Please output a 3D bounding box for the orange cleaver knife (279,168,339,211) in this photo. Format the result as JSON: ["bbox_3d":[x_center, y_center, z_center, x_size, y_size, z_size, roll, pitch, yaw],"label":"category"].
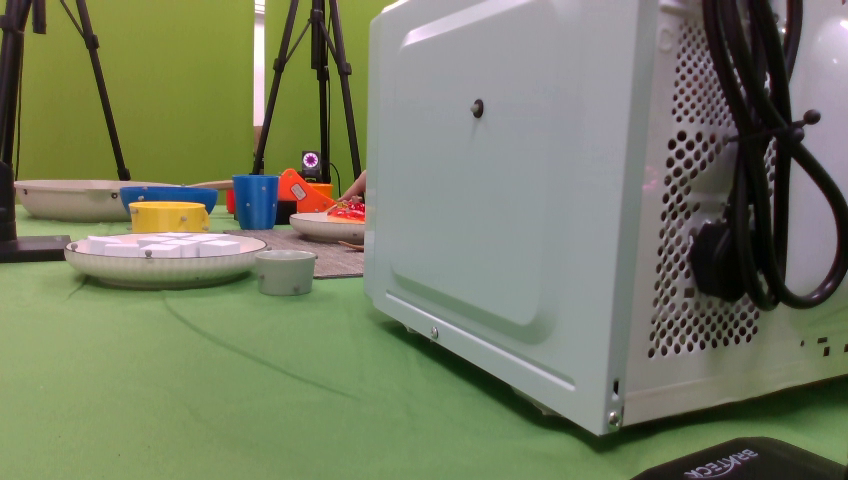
[{"bbox_3d":[-0.236,-0.084,1.333,0.212,0.077,0.012,31,-9,-32],"label":"orange cleaver knife"}]

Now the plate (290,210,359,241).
[{"bbox_3d":[-0.127,-0.026,1.051,0.209,0.038,0.209,3,7,0],"label":"plate"}]

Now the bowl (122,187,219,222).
[{"bbox_3d":[-0.421,-0.046,1.012,0.151,0.077,0.151,2,8,0],"label":"bowl"}]

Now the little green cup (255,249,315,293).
[{"bbox_3d":[-0.144,0.031,0.627,0.061,0.038,0.061,2,6,0],"label":"little green cup"}]

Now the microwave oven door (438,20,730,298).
[{"bbox_3d":[0.181,-0.076,0.618,0.358,0.243,0.039,-2,8,-28],"label":"microwave oven door"}]

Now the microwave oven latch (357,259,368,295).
[{"bbox_3d":[-0.019,0.031,0.529,0.079,0.029,0.030,-1,7,-26],"label":"microwave oven latch"}]

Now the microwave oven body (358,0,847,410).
[{"bbox_3d":[0.210,-0.051,0.471,0.444,0.260,0.324,-1,7,-28],"label":"microwave oven body"}]

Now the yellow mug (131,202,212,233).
[{"bbox_3d":[-0.356,-0.020,0.878,0.099,0.064,0.131,5,7,21],"label":"yellow mug"}]

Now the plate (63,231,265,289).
[{"bbox_3d":[-0.288,0.021,0.687,0.208,0.039,0.207,2,8,0],"label":"plate"}]

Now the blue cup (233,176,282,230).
[{"bbox_3d":[-0.314,-0.071,1.141,0.093,0.100,0.092,0,7,0],"label":"blue cup"}]

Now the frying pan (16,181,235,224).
[{"bbox_3d":[-0.554,-0.097,1.266,0.490,0.102,0.305,-10,13,-24],"label":"frying pan"}]

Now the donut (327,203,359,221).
[{"bbox_3d":[-0.120,-0.038,1.055,0.099,0.048,0.099,5,7,0],"label":"donut"}]

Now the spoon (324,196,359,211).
[{"bbox_3d":[-0.182,-0.064,1.226,0.041,0.021,0.194,8,26,32],"label":"spoon"}]

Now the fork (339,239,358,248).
[{"bbox_3d":[-0.027,0.004,0.925,0.208,0.018,0.028,-2,-1,-18],"label":"fork"}]
